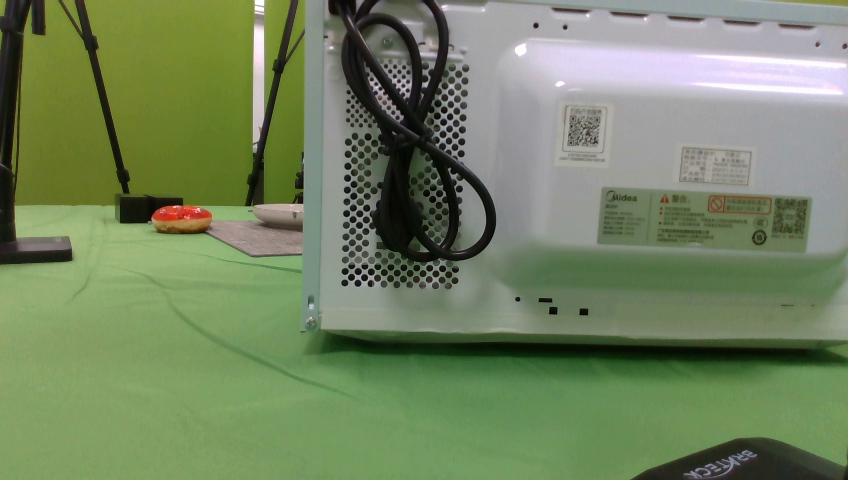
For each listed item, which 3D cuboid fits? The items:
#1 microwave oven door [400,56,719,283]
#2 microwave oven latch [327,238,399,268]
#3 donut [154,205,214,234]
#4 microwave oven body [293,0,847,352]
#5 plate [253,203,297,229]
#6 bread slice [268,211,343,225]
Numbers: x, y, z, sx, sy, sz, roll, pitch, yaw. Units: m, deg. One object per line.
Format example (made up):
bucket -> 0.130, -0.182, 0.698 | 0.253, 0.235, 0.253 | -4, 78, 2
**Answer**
microwave oven door -> 0.155, -0.077, 0.697 | 0.356, 0.243, 0.039 | 2, 8, -5
microwave oven latch -> -0.069, 0.015, 0.694 | 0.079, 0.029, 0.030 | 3, 7, -3
donut -> -0.426, -0.037, 1.075 | 0.099, 0.048, 0.099 | 2, 12, 0
microwave oven body -> 0.122, -0.055, 0.550 | 0.442, 0.260, 0.325 | 3, 7, -5
plate -> -0.238, -0.047, 1.226 | 0.208, 0.039, 0.207 | 3, 7, 0
bread slice -> -0.243, -0.046, 1.220 | 0.104, 0.019, 0.132 | 7, 8, 36
